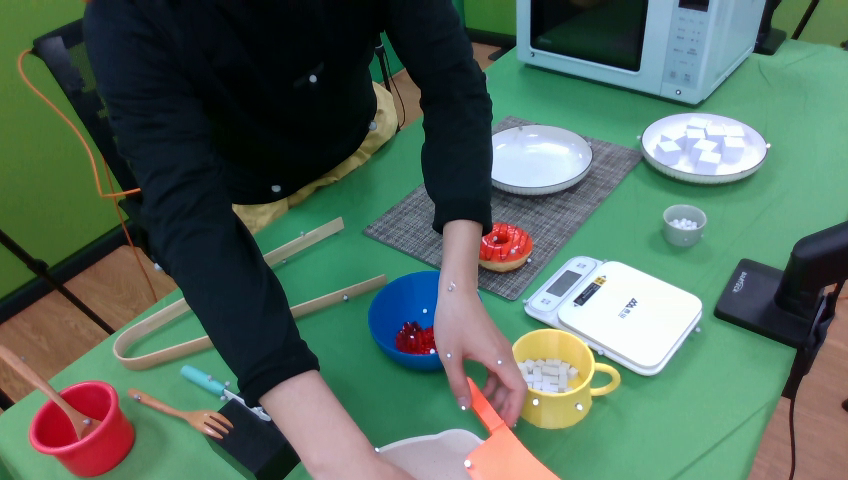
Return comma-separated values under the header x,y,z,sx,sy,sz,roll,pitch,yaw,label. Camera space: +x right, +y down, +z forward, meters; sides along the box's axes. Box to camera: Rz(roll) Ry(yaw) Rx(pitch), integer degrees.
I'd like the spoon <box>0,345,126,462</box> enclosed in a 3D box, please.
x,y,z,sx,sy,sz,roll,pitch,yaw,label
-0.434,0.192,0.720,0.194,0.021,0.042,47,54,-7,spoon

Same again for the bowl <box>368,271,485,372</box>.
x,y,z,sx,sy,sz,roll,pitch,yaw,label
0.007,0.119,0.791,0.151,0.077,0.150,-5,40,4,bowl

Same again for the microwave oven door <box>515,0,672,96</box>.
x,y,z,sx,sy,sz,roll,pitch,yaw,label
0.343,-0.454,1.259,0.353,0.245,0.039,26,51,33,microwave oven door

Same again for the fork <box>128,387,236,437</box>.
x,y,z,sx,sy,sz,roll,pitch,yaw,label
-0.305,0.207,0.744,0.206,0.019,0.028,3,41,36,fork

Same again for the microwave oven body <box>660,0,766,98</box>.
x,y,z,sx,sy,sz,roll,pitch,yaw,label
0.472,-0.513,1.317,0.438,0.261,0.327,26,51,34,microwave oven body

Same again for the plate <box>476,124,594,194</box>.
x,y,z,sx,sy,sz,roll,pitch,yaw,label
0.199,-0.142,1.093,0.209,0.038,0.208,-4,40,4,plate

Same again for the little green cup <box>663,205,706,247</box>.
x,y,z,sx,sy,sz,roll,pitch,yaw,label
0.396,-0.020,0.926,0.061,0.039,0.061,-4,40,4,little green cup

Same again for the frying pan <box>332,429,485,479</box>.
x,y,z,sx,sy,sz,roll,pitch,yaw,label
-0.089,0.306,0.564,0.487,0.103,0.306,10,41,8,frying pan

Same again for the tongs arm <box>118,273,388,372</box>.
x,y,z,sx,sy,sz,roll,pitch,yaw,label
-0.236,0.116,0.872,0.389,0.028,0.028,-18,50,-13,tongs arm

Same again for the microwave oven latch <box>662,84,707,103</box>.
x,y,z,sx,sy,sz,roll,pitch,yaw,label
0.517,-0.296,1.204,0.078,0.029,0.030,27,52,35,microwave oven latch

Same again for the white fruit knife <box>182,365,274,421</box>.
x,y,z,sx,sy,sz,roll,pitch,yaw,label
-0.245,0.188,0.747,0.205,0.027,0.016,9,41,41,white fruit knife

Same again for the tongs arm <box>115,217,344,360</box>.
x,y,z,sx,sy,sz,roll,pitch,yaw,label
-0.279,0.068,0.927,0.386,0.026,0.050,-29,50,-23,tongs arm

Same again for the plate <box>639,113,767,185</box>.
x,y,z,sx,sy,sz,roll,pitch,yaw,label
0.489,-0.157,1.074,0.207,0.039,0.206,-4,40,4,plate

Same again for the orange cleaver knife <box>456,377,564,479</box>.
x,y,z,sx,sy,sz,roll,pitch,yaw,label
0.081,0.220,0.611,0.077,0.012,0.209,-26,43,-22,orange cleaver knife

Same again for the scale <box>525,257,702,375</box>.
x,y,z,sx,sy,sz,roll,pitch,yaw,label
0.254,0.091,0.821,0.199,0.032,0.149,27,51,35,scale

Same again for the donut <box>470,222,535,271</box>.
x,y,z,sx,sy,sz,roll,pitch,yaw,label
0.119,0.009,0.923,0.099,0.048,0.098,-4,38,3,donut

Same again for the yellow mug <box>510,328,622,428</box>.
x,y,z,sx,sy,sz,roll,pitch,yaw,label
0.169,0.164,0.722,0.130,0.064,0.099,1,40,8,yellow mug
